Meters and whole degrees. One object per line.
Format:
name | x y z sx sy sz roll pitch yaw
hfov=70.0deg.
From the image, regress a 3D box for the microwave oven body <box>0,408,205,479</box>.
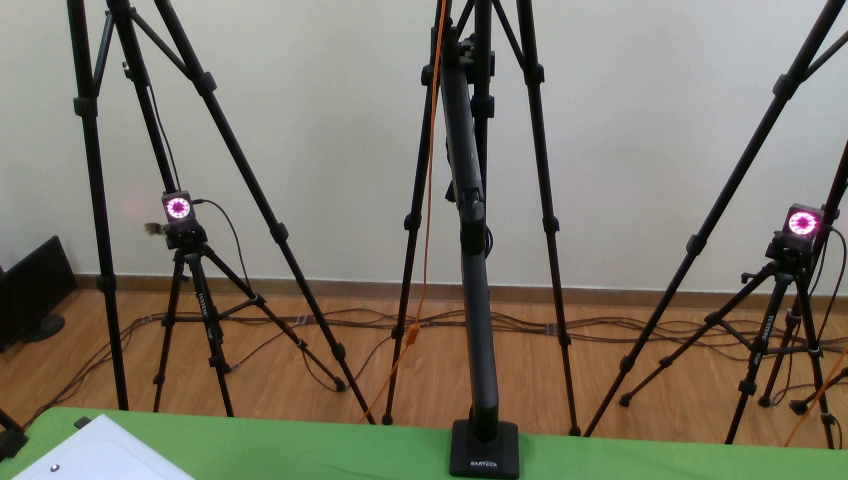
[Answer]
microwave oven body | -0.454 0.475 0.707 0.323 0.262 0.441 19 40 28
